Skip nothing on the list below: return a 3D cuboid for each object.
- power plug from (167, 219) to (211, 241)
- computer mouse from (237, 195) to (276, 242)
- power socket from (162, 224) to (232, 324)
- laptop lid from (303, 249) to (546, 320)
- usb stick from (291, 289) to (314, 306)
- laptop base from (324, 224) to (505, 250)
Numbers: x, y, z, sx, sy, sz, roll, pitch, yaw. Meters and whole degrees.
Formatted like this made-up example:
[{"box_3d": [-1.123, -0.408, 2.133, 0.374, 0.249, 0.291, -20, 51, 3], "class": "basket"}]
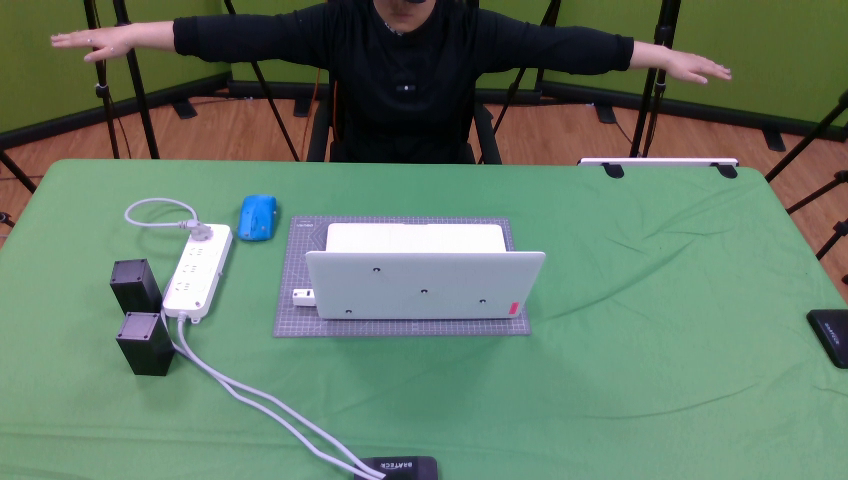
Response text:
[{"box_3d": [-0.438, -0.017, 1.143, 0.072, 0.053, 0.035, 11, 44, 6], "class": "power plug"}, {"box_3d": [-0.333, -0.047, 1.207, 0.063, 0.041, 0.116, 3, 50, -5], "class": "computer mouse"}, {"box_3d": [-0.411, 0.052, 1.106, 0.072, 0.033, 0.225, 3, 45, -1], "class": "power socket"}, {"box_3d": [-0.003, 0.077, 0.961, 0.357, 0.242, 0.013, 1, 58, -5], "class": "laptop lid"}, {"box_3d": [-0.203, 0.102, 1.066, 0.059, 0.027, 0.021, 4, 45, -5], "class": "usb stick"}, {"box_3d": [-0.014, 0.055, 1.144, 0.355, 0.023, 0.234, 0, 42, -4], "class": "laptop base"}]
